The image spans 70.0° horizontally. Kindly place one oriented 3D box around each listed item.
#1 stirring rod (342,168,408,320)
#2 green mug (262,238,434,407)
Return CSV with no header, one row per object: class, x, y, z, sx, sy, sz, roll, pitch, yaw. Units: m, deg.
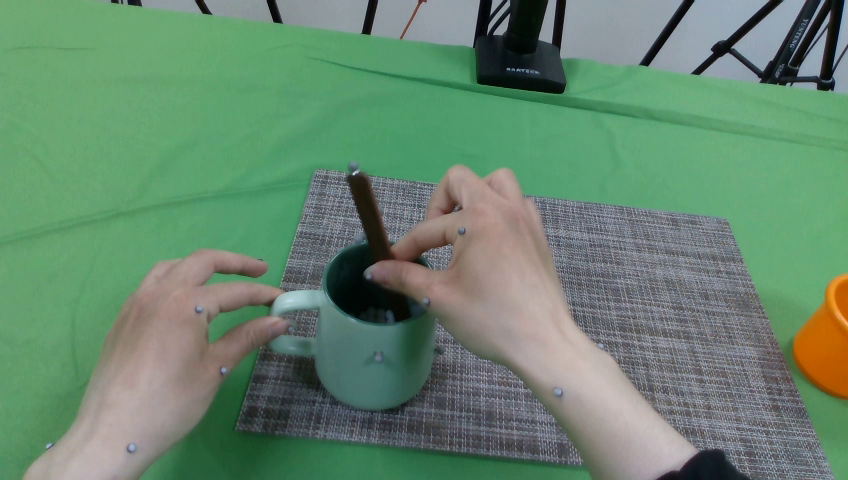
stirring rod,-0.025,0.027,0.407,0.014,0.178,0.006,-2,41,15
green mug,-0.054,0.062,0.442,0.125,0.106,0.091,-1,47,-10
